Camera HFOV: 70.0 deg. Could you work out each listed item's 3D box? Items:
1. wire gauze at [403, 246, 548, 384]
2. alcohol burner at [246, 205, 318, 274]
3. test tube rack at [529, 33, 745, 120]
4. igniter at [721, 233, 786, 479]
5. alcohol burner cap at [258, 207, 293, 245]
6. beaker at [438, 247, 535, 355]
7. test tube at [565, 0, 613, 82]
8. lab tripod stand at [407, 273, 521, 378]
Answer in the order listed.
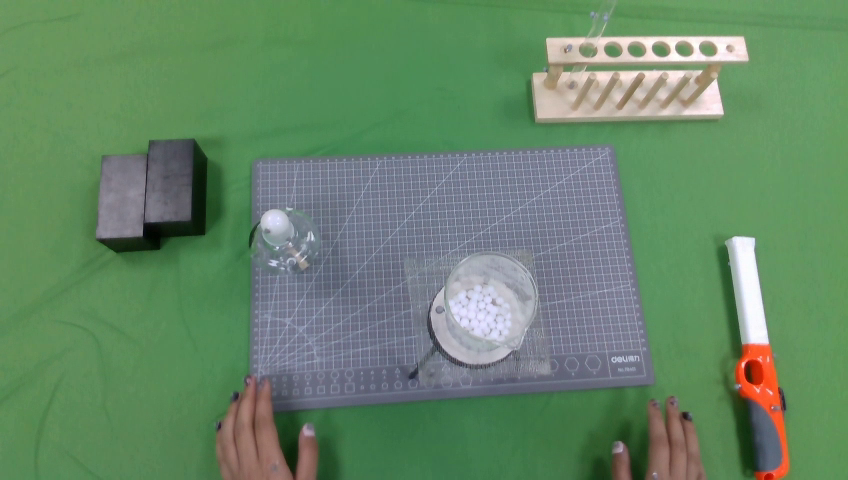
[{"bbox_3d":[0.047,0.067,0.564,0.125,0.011,0.120,-5,72,-2],"label":"wire gauze"},{"bbox_3d":[-0.156,-0.006,0.653,0.078,0.120,0.077,1,71,-2],"label":"alcohol burner"},{"bbox_3d":[0.261,-0.201,0.752,0.242,0.085,0.066,-2,73,-4],"label":"test tube rack"},{"bbox_3d":[0.375,0.126,0.692,0.057,0.025,0.275,4,73,-12],"label":"igniter"},{"bbox_3d":[-0.153,-0.016,0.618,0.034,0.048,0.033,2,75,-6],"label":"alcohol burner cap"},{"bbox_3d":[0.050,0.059,0.516,0.074,0.101,0.083,-25,75,-9],"label":"beaker"},{"bbox_3d":[0.190,-0.233,0.706,0.017,0.151,0.017,1,69,-3],"label":"test tube"},{"bbox_3d":[0.042,0.090,0.625,0.148,0.132,0.147,0,72,-1],"label":"lab tripod stand"}]
